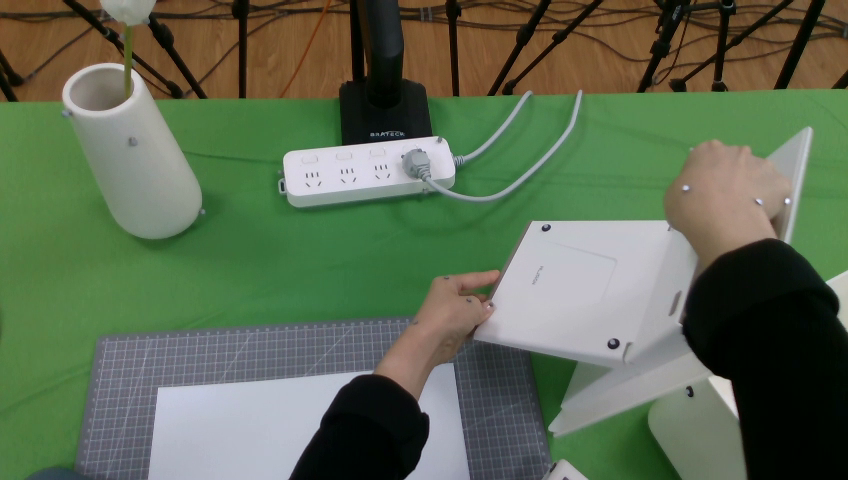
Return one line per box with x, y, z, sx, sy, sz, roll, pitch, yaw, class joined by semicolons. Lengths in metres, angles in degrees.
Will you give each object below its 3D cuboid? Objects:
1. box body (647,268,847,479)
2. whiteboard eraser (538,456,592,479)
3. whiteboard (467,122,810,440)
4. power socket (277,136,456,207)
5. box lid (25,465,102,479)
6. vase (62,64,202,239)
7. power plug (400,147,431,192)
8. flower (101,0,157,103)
0.410;0.231;0.536;0.254;0.161;0.360;-22;63;-18;box body
0.113;0.259;0.555;0.055;0.042;0.112;37;62;17;whiteboard eraser
0.160;0.022;0.546;0.144;0.307;0.216;31;60;3;whiteboard
-0.069;-0.087;0.756;0.227;0.033;0.071;-7;60;-11;power socket
-0.228;0.361;0.477;0.371;0.015;0.261;19;59;5;box lid
-0.301;-0.086;0.633;0.098;0.201;0.097;2;58;-3;vase
-0.011;-0.080;0.732;0.035;0.053;0.072;2;64;-5;power plug
-0.274;-0.123;0.562;0.038;0.362;0.044;44;54;1;flower
